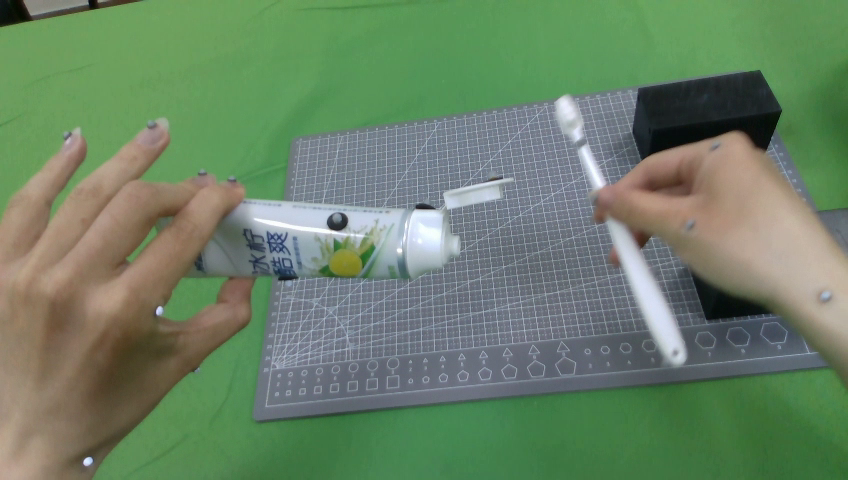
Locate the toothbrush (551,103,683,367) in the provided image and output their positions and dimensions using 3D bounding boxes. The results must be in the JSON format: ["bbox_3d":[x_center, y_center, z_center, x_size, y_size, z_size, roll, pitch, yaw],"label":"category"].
[{"bbox_3d":[0.113,-0.010,0.367,0.014,0.017,0.180,-22,67,9],"label":"toothbrush"}]

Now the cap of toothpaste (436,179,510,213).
[{"bbox_3d":[0.024,-0.021,0.288,0.037,0.037,0.011,-14,91,2],"label":"cap of toothpaste"}]

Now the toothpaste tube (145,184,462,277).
[{"bbox_3d":[-0.063,-0.003,0.309,0.165,0.055,0.034,1,28,12],"label":"toothpaste tube"}]
